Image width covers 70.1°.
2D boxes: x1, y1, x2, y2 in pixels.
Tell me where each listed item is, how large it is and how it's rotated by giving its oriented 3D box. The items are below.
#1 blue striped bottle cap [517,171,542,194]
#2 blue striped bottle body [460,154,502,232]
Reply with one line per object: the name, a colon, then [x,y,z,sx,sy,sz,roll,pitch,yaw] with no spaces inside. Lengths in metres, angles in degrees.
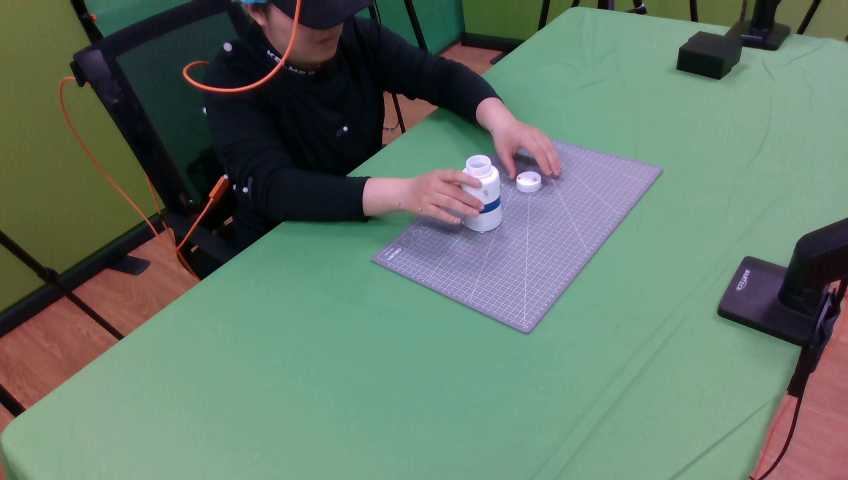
blue striped bottle cap: [0.187,-0.103,1.073,0.044,0.021,0.044,-5,43,5]
blue striped bottle body: [0.093,-0.078,0.976,0.063,0.121,0.063,-6,40,5]
